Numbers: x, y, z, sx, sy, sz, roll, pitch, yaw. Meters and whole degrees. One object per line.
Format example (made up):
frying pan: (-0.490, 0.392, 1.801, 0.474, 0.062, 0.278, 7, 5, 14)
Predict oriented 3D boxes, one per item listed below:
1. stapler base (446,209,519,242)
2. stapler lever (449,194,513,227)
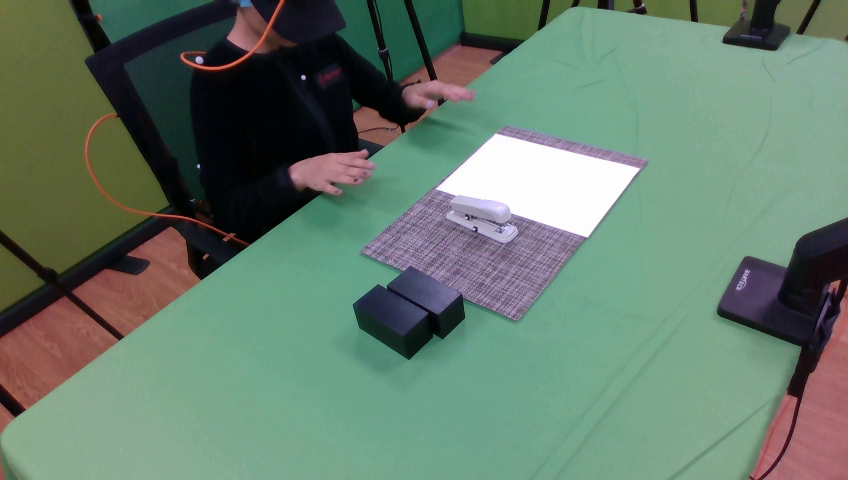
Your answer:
stapler base: (0.096, -0.035, 1.000, 0.129, 0.024, 0.041, 24, 48, 35)
stapler lever: (0.092, -0.054, 0.985, 0.117, 0.040, 0.027, 25, 48, 35)
